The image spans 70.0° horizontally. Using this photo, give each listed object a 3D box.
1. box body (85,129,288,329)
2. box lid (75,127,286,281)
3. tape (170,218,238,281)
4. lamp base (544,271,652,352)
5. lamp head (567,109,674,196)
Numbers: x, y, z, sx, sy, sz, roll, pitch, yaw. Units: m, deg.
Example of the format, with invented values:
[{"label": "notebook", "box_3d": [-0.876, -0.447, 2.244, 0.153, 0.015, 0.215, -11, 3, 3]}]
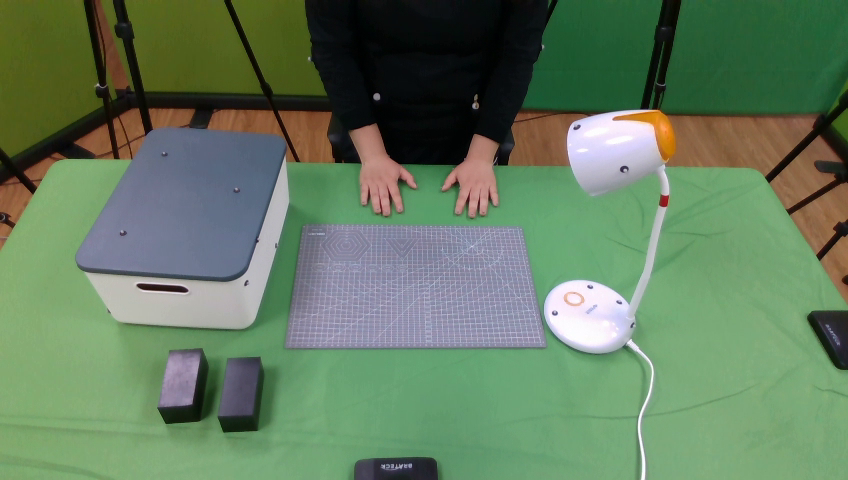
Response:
[{"label": "box body", "box_3d": [-0.401, -0.025, 1.094, 0.254, 0.161, 0.362, 3, 46, -1]}, {"label": "box lid", "box_3d": [-0.398, -0.075, 1.039, 0.263, 0.015, 0.369, 4, 45, -1]}, {"label": "tape", "box_3d": [-0.406, 0.017, 1.121, 0.117, 0.053, 0.116, 2, 46, -2]}, {"label": "lamp base", "box_3d": [0.310, 0.086, 1.029, 0.178, 0.181, 0.160, 32, 52, 21]}, {"label": "lamp head", "box_3d": [0.272, -0.123, 0.818, 0.122, 0.113, 0.112, -9, 35, 37]}]
